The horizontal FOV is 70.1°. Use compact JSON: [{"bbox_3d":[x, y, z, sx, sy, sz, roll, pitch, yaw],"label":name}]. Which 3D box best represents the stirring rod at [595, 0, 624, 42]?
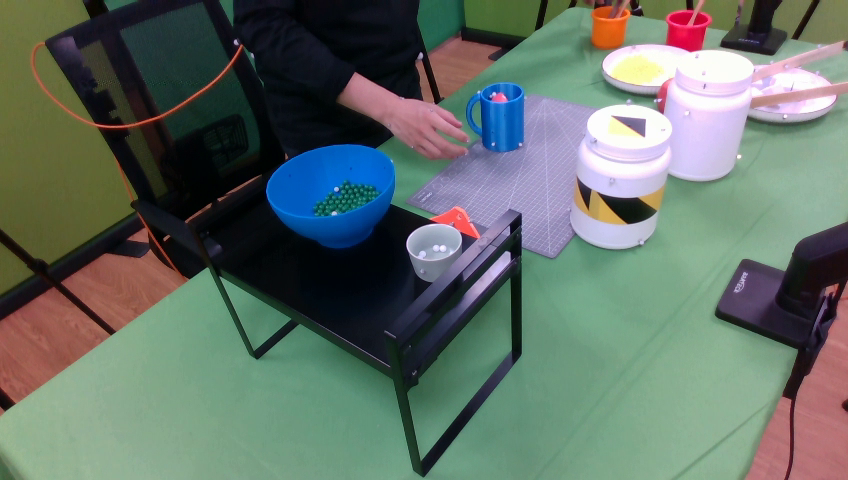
[{"bbox_3d":[0.463,-0.557,1.460,0.014,0.006,0.176,32,93,24],"label":"stirring rod"}]

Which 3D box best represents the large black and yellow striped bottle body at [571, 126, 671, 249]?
[{"bbox_3d":[0.296,-0.093,0.915,0.131,0.185,0.130,-3,42,3],"label":"large black and yellow striped bottle body"}]

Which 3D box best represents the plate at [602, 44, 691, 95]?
[{"bbox_3d":[0.494,-0.367,1.317,0.209,0.038,0.208,-4,40,4],"label":"plate"}]

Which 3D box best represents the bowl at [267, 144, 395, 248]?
[{"bbox_3d":[-0.104,-0.043,0.726,0.151,0.077,0.150,-4,40,4],"label":"bowl"}]

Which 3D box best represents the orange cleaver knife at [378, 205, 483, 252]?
[{"bbox_3d":[0.005,-0.010,0.943,0.210,0.077,0.012,-5,23,47],"label":"orange cleaver knife"}]

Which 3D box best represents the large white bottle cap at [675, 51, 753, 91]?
[{"bbox_3d":[0.463,-0.271,0.967,0.115,0.018,0.114,-4,40,4],"label":"large white bottle cap"}]

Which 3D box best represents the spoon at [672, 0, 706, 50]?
[{"bbox_3d":[0.629,-0.520,1.394,0.041,0.022,0.193,29,96,35],"label":"spoon"}]

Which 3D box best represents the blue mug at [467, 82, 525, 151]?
[{"bbox_3d":[0.138,-0.241,1.169,0.116,0.106,0.082,11,44,21],"label":"blue mug"}]

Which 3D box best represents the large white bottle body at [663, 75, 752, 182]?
[{"bbox_3d":[0.472,-0.207,1.022,0.130,0.185,0.130,-4,41,4],"label":"large white bottle body"}]

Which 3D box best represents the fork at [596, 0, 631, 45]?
[{"bbox_3d":[0.483,-0.556,1.453,0.028,0.019,0.207,42,102,40],"label":"fork"}]

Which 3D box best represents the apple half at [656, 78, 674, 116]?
[{"bbox_3d":[0.488,-0.281,1.192,0.053,0.075,0.081,24,54,37],"label":"apple half"}]

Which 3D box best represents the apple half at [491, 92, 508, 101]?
[{"bbox_3d":[0.141,-0.239,1.158,0.033,0.081,0.080,-13,40,-17],"label":"apple half"}]

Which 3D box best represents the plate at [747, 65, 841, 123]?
[{"bbox_3d":[0.695,-0.282,1.189,0.207,0.039,0.206,-4,40,4],"label":"plate"}]

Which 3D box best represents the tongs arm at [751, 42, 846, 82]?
[{"bbox_3d":[0.708,-0.331,1.194,0.386,0.026,0.050,-18,45,-16],"label":"tongs arm"}]

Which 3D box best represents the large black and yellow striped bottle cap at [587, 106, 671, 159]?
[{"bbox_3d":[0.290,-0.154,0.858,0.115,0.019,0.114,-4,42,4],"label":"large black and yellow striped bottle cap"}]

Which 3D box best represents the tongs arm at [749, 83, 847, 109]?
[{"bbox_3d":[0.734,-0.280,1.133,0.388,0.028,0.028,-9,47,-5],"label":"tongs arm"}]

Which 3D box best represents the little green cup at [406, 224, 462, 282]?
[{"bbox_3d":[0.013,0.015,0.668,0.061,0.039,0.061,-4,40,4],"label":"little green cup"}]
